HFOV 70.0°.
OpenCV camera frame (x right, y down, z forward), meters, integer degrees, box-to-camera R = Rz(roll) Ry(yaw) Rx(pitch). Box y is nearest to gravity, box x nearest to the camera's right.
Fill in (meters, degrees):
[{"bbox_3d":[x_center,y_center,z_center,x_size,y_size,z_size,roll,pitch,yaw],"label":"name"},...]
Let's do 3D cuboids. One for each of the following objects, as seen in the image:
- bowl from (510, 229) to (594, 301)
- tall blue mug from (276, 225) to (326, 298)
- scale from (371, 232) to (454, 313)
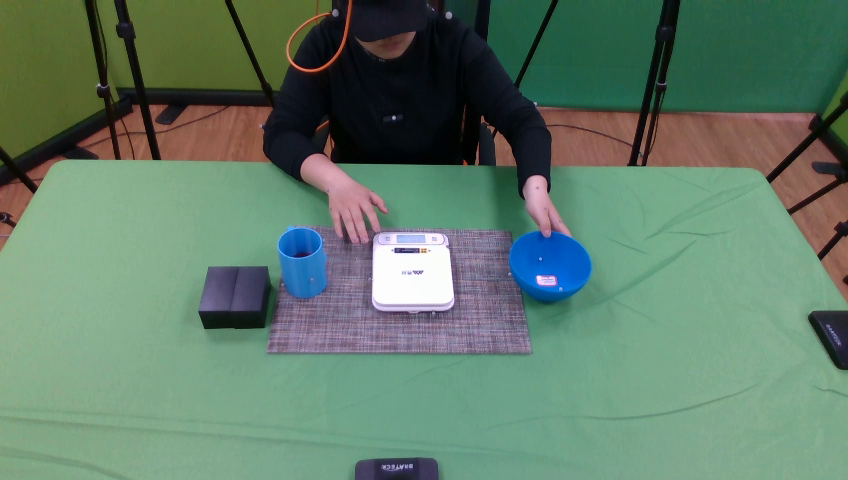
[{"bbox_3d":[0.228,0.059,1.116,0.151,0.077,0.150,2,47,-2],"label":"bowl"},{"bbox_3d":[-0.228,0.033,1.083,0.107,0.108,0.077,30,52,23],"label":"tall blue mug"},{"bbox_3d":[-0.023,0.051,1.134,0.149,0.032,0.199,1,46,-4],"label":"scale"}]
